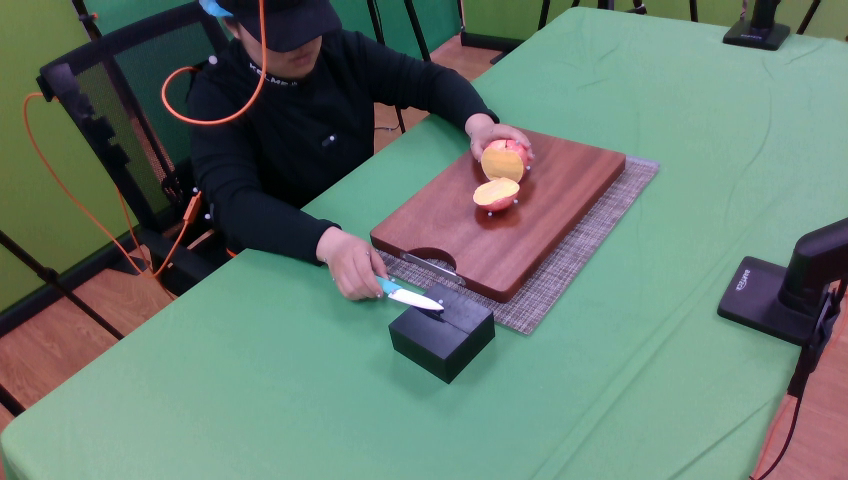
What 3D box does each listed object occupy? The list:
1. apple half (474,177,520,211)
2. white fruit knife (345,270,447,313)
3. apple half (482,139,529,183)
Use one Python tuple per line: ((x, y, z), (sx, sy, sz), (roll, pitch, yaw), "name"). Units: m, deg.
((0.123, -0.070, 0.994), (0.081, 0.033, 0.081), (-17, 29, 11), "apple half")
((-0.042, 0.073, 0.864), (0.205, 0.016, 0.027), (15, 49, 44), "white fruit knife")
((0.146, -0.138, 1.039), (0.080, 0.075, 0.053), (11, 40, 27), "apple half")
